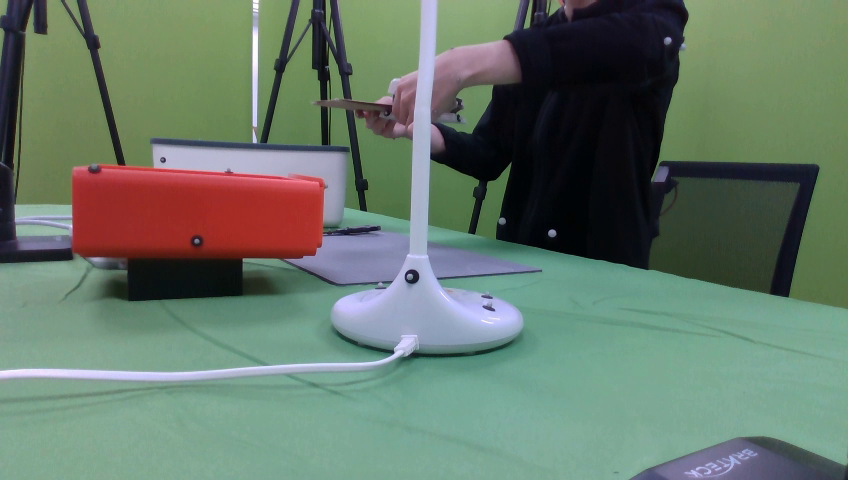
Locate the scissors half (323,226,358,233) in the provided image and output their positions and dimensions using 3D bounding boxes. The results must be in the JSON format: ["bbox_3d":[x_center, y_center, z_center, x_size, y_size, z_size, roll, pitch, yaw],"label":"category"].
[{"bbox_3d":[-0.166,-0.015,1.094,0.040,0.013,0.176,4,7,39],"label":"scissors half"}]

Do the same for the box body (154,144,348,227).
[{"bbox_3d":[-0.357,-0.119,1.264,0.365,0.160,0.253,0,7,-18],"label":"box body"}]

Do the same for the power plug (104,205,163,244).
[{"bbox_3d":[-0.390,-0.021,0.815,0.073,0.052,0.035,-1,7,-27],"label":"power plug"}]

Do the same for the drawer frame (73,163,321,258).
[{"bbox_3d":[-0.232,-0.034,0.635,0.214,0.082,0.201,1,8,-23],"label":"drawer frame"}]

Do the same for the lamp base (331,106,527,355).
[{"bbox_3d":[0.006,-0.012,0.478,0.161,0.180,0.179,2,10,2],"label":"lamp base"}]

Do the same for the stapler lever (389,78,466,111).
[{"bbox_3d":[0.003,-0.207,0.856,0.117,0.040,0.027,11,11,29],"label":"stapler lever"}]

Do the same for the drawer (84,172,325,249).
[{"bbox_3d":[-0.227,-0.036,0.638,0.213,0.073,0.193,-1,9,-23],"label":"drawer"}]

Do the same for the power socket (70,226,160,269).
[{"bbox_3d":[-0.409,0.004,0.793,0.072,0.032,0.225,-2,8,-38],"label":"power socket"}]

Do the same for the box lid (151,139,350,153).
[{"bbox_3d":[-0.352,-0.191,1.256,0.373,0.015,0.262,0,8,-18],"label":"box lid"}]

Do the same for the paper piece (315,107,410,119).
[{"bbox_3d":[-0.091,-0.190,0.902,0.136,0.004,0.135,2,14,-21],"label":"paper piece"}]

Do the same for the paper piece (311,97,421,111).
[{"bbox_3d":[-0.082,-0.201,0.898,0.139,0.008,0.135,1,11,-29],"label":"paper piece"}]

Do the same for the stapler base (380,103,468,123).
[{"bbox_3d":[-0.001,-0.183,0.860,0.130,0.024,0.041,11,11,29],"label":"stapler base"}]

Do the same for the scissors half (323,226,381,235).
[{"bbox_3d":[-0.153,-0.015,1.079,0.176,0.013,0.040,-6,2,-33],"label":"scissors half"}]
